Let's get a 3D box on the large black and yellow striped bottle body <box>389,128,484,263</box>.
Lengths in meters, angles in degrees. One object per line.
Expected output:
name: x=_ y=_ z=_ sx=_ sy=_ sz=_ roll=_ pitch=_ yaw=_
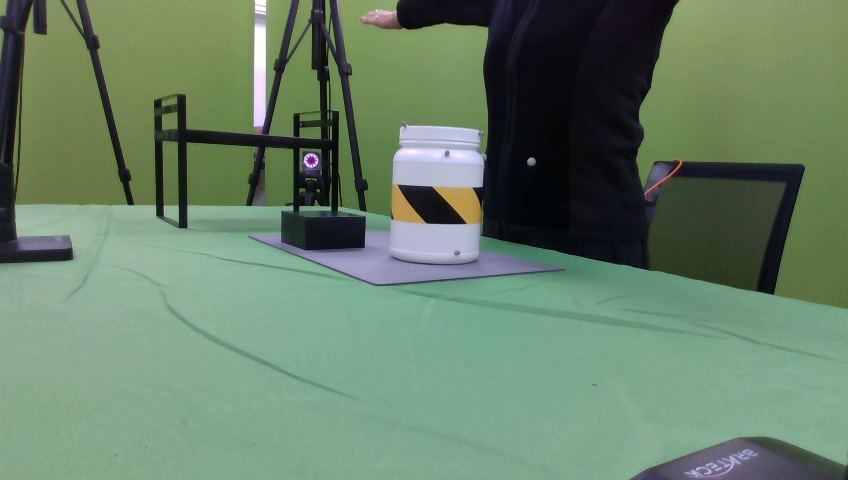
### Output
large black and yellow striped bottle body: x=0.018 y=-0.067 z=0.859 sx=0.131 sy=0.184 sz=0.130 roll=2 pitch=7 yaw=0

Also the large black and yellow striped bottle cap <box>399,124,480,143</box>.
large black and yellow striped bottle cap: x=0.022 y=-0.149 z=0.850 sx=0.115 sy=0.019 sz=0.115 roll=3 pitch=8 yaw=0
